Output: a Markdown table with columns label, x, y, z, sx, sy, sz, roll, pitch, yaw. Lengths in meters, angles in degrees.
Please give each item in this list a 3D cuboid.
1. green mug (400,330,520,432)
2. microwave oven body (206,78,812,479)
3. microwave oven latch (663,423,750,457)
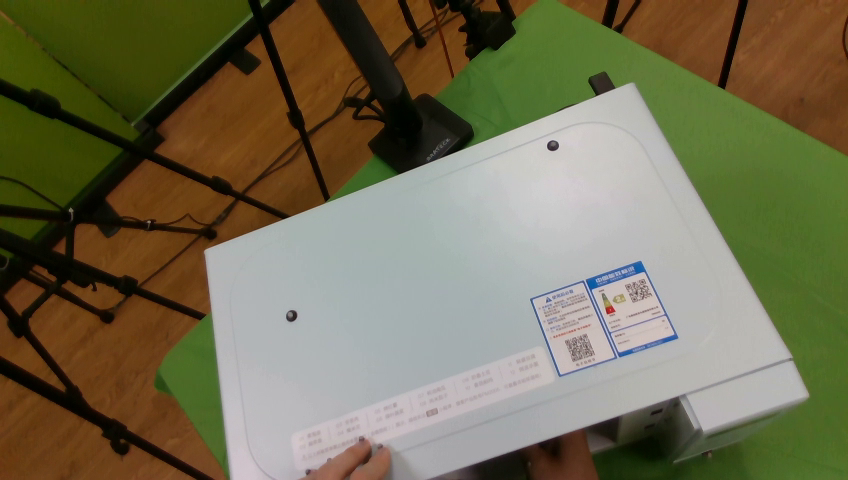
| label | x | y | z | sx | sy | sz | roll | pitch | yaw |
| --- | --- | --- | --- | --- | --- | --- | --- | --- | --- |
| green mug | 0.042 | 0.151 | 0.615 | 0.124 | 0.106 | 0.092 | 28 | 76 | 26 |
| microwave oven body | 0.056 | 0.094 | 0.614 | 0.441 | 0.262 | 0.323 | -21 | 62 | 7 |
| microwave oven latch | 0.286 | 0.194 | 0.612 | 0.079 | 0.030 | 0.030 | -20 | 62 | 7 |
